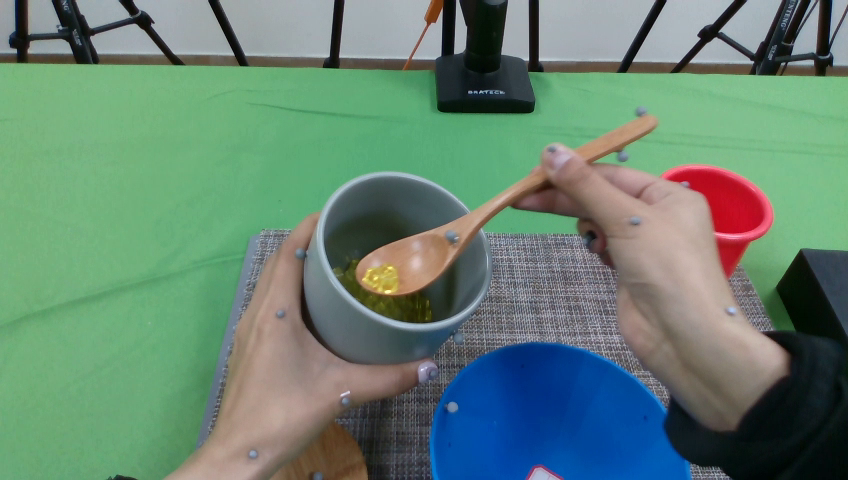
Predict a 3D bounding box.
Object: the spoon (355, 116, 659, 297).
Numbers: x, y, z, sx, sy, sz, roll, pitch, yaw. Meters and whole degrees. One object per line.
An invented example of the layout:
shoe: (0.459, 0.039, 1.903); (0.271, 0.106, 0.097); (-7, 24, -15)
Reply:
spoon: (0.050, -0.022, 0.338); (0.194, 0.022, 0.041); (-31, 44, -1)

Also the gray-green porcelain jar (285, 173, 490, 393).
gray-green porcelain jar: (-0.031, 0.036, 0.392); (0.106, 0.127, 0.105); (11, 56, -17)

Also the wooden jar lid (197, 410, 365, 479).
wooden jar lid: (-0.092, 0.163, 0.392); (0.108, 0.021, 0.107); (1, 44, -1)

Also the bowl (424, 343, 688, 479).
bowl: (0.074, 0.147, 0.376); (0.151, 0.077, 0.150); (2, 45, -1)
